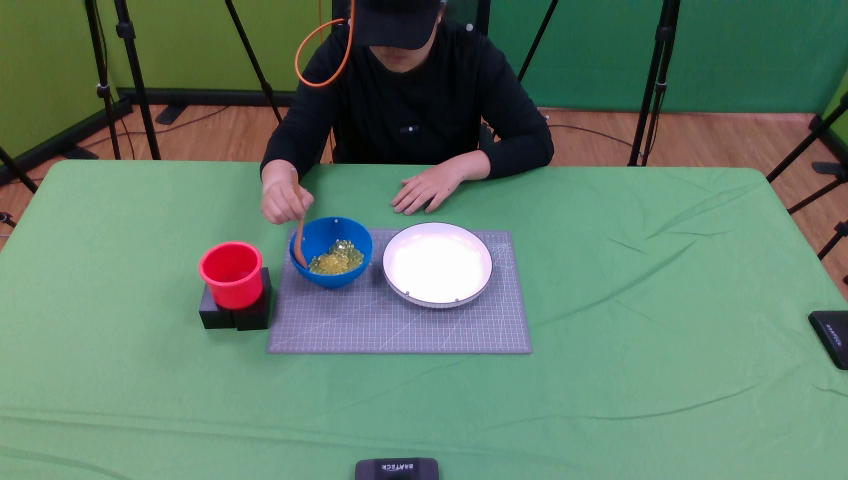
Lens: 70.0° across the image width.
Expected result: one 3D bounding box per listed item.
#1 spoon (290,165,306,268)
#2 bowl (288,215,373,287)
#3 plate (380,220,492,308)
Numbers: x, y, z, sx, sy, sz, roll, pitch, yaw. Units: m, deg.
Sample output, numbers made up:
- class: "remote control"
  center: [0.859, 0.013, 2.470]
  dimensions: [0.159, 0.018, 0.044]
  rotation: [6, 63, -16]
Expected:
- class: "spoon"
  center: [-0.215, -0.038, 1.039]
  dimensions: [0.022, 0.194, 0.041]
  rotation: [-1, 27, -9]
- class: "bowl"
  center: [-0.168, 0.034, 1.109]
  dimensions: [0.151, 0.077, 0.150]
  rotation: [2, 46, -2]
- class: "plate"
  center: [0.022, 0.048, 1.137]
  dimensions: [0.208, 0.039, 0.206]
  rotation: [2, 46, -2]
